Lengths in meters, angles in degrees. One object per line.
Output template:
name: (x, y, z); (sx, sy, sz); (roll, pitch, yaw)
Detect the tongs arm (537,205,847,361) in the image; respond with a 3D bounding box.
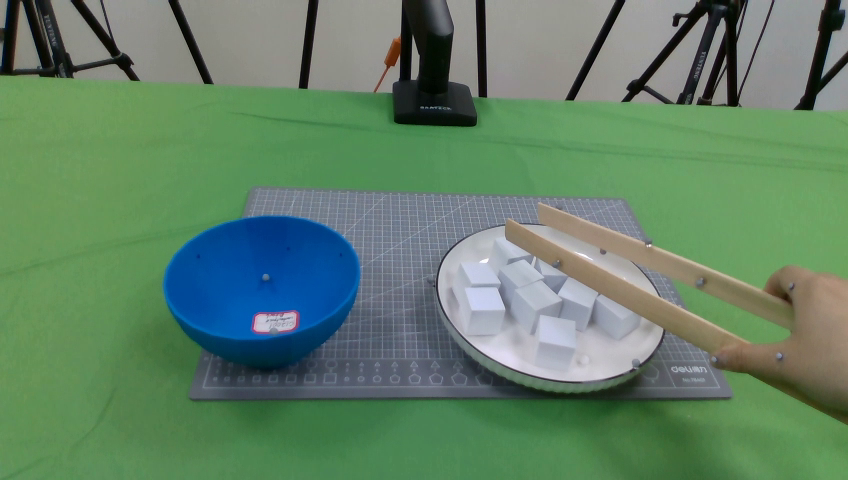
tongs arm: (0.230, 0.052, 0.464); (0.051, 0.027, 0.381); (-31, 42, -34)

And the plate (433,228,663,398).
plate: (0.110, 0.065, 0.557); (0.208, 0.039, 0.205); (4, 38, -3)

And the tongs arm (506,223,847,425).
tongs arm: (0.208, 0.064, 0.449); (0.028, 0.028, 0.383); (-26, 39, -34)

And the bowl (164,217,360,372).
bowl: (-0.129, 0.056, 0.503); (0.151, 0.077, 0.150); (4, 38, -3)
